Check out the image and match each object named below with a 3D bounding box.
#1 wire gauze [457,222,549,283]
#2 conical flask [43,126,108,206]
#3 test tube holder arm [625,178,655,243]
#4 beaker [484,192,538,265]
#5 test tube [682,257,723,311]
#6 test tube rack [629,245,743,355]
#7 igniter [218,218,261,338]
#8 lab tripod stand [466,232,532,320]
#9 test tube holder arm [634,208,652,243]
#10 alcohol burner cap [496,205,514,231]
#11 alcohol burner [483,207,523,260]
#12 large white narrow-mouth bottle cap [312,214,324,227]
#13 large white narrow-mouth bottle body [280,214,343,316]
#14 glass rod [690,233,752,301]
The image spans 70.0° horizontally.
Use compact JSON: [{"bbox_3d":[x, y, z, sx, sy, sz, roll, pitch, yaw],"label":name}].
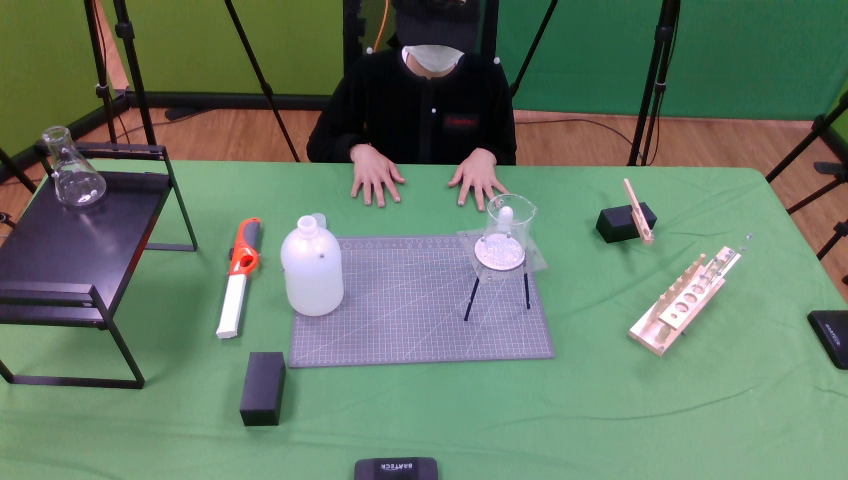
[{"bbox_3d":[0.131,0.016,1.017,0.121,0.011,0.124,-10,44,-16],"label":"wire gauze"},{"bbox_3d":[-0.555,-0.119,0.953,0.075,0.122,0.075,2,46,-2],"label":"conical flask"},{"bbox_3d":[0.433,-0.062,1.220,0.013,0.015,0.177,1,47,-3],"label":"test tube holder arm"},{"bbox_3d":[0.137,-0.016,0.980,0.084,0.101,0.073,-6,45,-9],"label":"beaker"},{"bbox_3d":[0.474,0.080,1.037,0.017,0.151,0.017,1,50,-1],"label":"test tube"},{"bbox_3d":[0.474,0.095,1.091,0.242,0.085,0.066,-34,56,-31],"label":"test tube rack"},{"bbox_3d":[-0.336,0.060,1.111,0.057,0.025,0.274,-8,46,4],"label":"igniter"},{"bbox_3d":[0.125,0.059,1.065,0.148,0.132,0.147,1,45,0],"label":"lab tripod stand"},{"bbox_3d":[0.428,-0.030,1.189,0.010,0.015,0.087,2,47,-3],"label":"test tube holder arm"},{"bbox_3d":[0.153,-0.044,1.131,0.034,0.048,0.033,2,40,-1],"label":"alcohol burner cap"},{"bbox_3d":[0.152,-0.018,1.156,0.078,0.120,0.077,0,47,0],"label":"alcohol burner"},{"bbox_3d":[-0.219,-0.033,1.214,0.038,0.024,0.037,2,46,-2],"label":"large white narrow-mouth bottle cap"},{"bbox_3d":[-0.190,0.035,1.025,0.102,0.195,0.101,2,46,-2],"label":"large white narrow-mouth bottle body"},{"bbox_3d":[0.507,0.053,1.041,0.008,0.200,0.008,5,50,-6],"label":"glass rod"}]
